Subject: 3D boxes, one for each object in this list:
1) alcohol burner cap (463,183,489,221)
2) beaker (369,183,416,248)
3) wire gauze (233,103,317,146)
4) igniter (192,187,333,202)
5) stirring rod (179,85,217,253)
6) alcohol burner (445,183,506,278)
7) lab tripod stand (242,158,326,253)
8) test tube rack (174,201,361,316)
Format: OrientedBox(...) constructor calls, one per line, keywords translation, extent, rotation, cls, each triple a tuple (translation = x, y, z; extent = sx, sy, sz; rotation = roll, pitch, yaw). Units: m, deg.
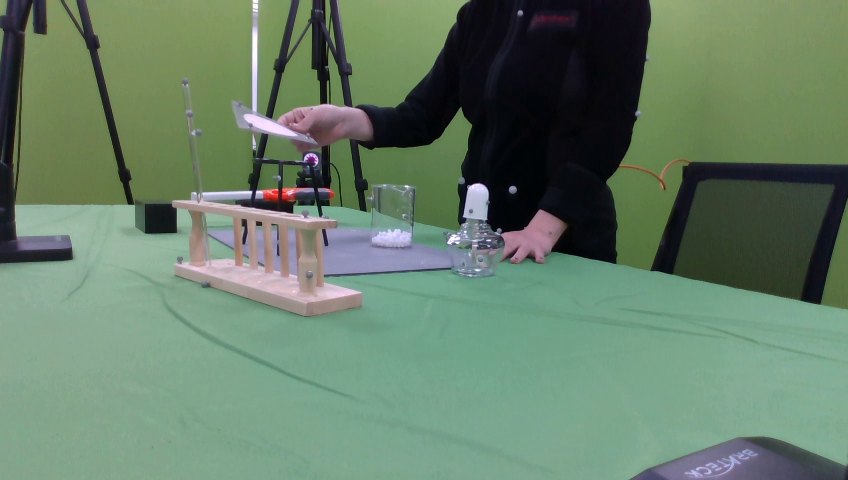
OrientedBox(translation=(0.067, -0.048, 0.765), extent=(0.034, 0.048, 0.034), rotation=(5, 5, 0), cls="alcohol burner cap")
OrientedBox(translation=(-0.050, -0.039, 0.971), extent=(0.074, 0.100, 0.083), rotation=(-2, 9, -25), cls="beaker")
OrientedBox(translation=(-0.238, -0.180, 0.955), extent=(0.122, 0.011, 0.124), rotation=(14, 19, -31), cls="wire gauze")
OrientedBox(translation=(-0.316, -0.090, 1.213), extent=(0.278, 0.025, 0.057), rotation=(-5, 13, -31), cls="igniter")
OrientedBox(translation=(-0.236, -0.073, 0.634), extent=(0.006, 0.176, 0.014), rotation=(0, 10, 41), cls="stirring rod")
OrientedBox(translation=(0.066, -0.013, 0.770), extent=(0.078, 0.119, 0.078), rotation=(0, 7, 0), cls="alcohol burner")
OrientedBox(translation=(-0.207, -0.054, 0.895), extent=(0.148, 0.131, 0.148), rotation=(3, 5, 0), cls="lab tripod stand")
OrientedBox(translation=(-0.169, 0.010, 0.622), extent=(0.241, 0.085, 0.067), rotation=(9, 9, 41), cls="test tube rack")
